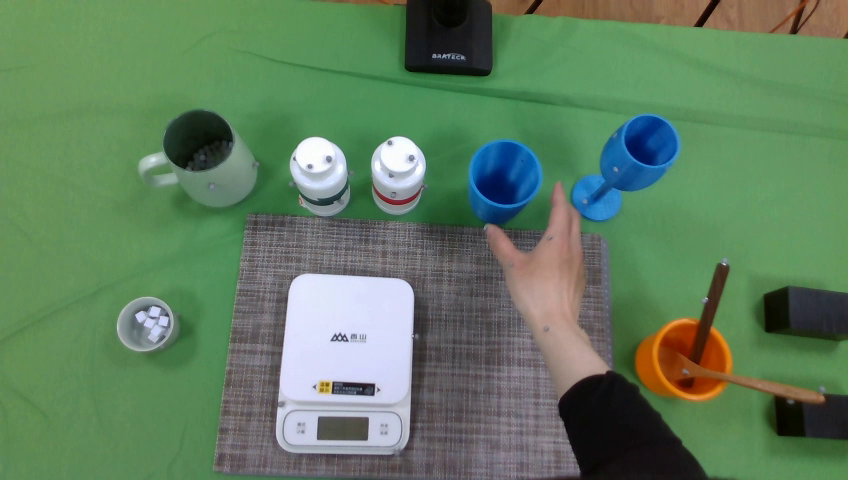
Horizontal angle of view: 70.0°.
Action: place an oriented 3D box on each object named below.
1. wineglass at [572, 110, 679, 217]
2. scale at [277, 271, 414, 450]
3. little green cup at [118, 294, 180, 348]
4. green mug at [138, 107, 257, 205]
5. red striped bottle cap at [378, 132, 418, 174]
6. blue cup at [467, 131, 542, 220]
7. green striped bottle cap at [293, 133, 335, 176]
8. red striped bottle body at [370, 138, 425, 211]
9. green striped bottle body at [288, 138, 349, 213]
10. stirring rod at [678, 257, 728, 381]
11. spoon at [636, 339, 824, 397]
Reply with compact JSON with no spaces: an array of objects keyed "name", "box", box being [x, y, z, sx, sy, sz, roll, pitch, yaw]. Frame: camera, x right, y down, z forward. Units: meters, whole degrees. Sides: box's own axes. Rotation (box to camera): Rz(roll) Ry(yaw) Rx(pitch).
[{"name":"wineglass","box":[0.230,-0.084,0.712,0.074,0.173,0.073,1,74,-3]},{"name":"scale","box":[-0.088,0.136,0.697,0.149,0.031,0.200,3,75,-3]},{"name":"little green cup","box":[-0.310,0.095,0.691,0.061,0.039,0.061,2,74,-5]},{"name":"green mug","box":[-0.267,-0.092,0.711,0.125,0.105,0.092,-18,77,-8]},{"name":"red striped bottle cap","box":[-0.028,-0.096,0.668,0.044,0.018,0.044,1,77,-3]},{"name":"blue cup","box":[0.090,-0.067,0.734,0.093,0.100,0.092,1,75,-2]},{"name":"green striped bottle cap","box":[-0.120,-0.093,0.660,0.044,0.020,0.044,1,74,-4]},{"name":"red striped bottle body","box":[-0.033,-0.081,0.718,0.063,0.120,0.062,1,74,-4]},{"name":"green striped bottle body","box":[-0.122,-0.079,0.711,0.063,0.120,0.063,1,74,-3]},{"name":"stirring rod","box":[0.313,0.094,0.683,0.014,0.177,0.006,8,33,12]},{"name":"spoon","box":[0.329,0.146,0.671,0.022,0.192,0.041,25,78,-42]}]
